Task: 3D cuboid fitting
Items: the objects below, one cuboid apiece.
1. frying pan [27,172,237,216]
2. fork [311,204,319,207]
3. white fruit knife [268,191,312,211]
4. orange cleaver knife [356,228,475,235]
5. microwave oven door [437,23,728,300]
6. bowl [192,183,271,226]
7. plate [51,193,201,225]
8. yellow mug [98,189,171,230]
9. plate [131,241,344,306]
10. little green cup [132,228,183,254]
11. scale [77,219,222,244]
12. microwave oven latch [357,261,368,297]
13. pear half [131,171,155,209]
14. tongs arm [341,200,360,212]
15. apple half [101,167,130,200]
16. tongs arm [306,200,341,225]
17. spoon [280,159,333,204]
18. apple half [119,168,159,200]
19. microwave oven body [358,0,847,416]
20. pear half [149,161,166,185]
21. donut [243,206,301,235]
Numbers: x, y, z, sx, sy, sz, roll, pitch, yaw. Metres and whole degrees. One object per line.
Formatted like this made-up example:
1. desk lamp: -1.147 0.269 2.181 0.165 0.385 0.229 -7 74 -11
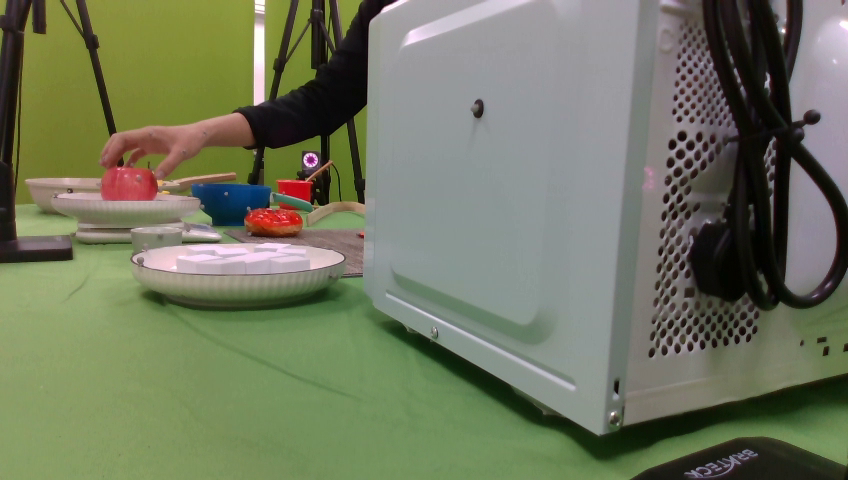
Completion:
1. frying pan: -0.624 -0.118 1.387 0.305 0.102 0.490 8 17 32
2. fork: -0.356 -0.105 1.526 0.208 0.018 0.028 16 -5 -41
3. white fruit knife: -0.364 -0.105 1.464 0.208 0.027 0.016 15 0 -34
4. orange cleaver knife: -0.017 -0.015 1.080 0.211 0.012 0.077 0 1 -3
5. microwave oven door: 0.180 -0.073 0.621 0.358 0.243 0.039 -2 8 -29
6. bowl: -0.382 -0.071 1.202 0.151 0.077 0.151 3 7 0
7. plate: -0.460 -0.050 0.944 0.209 0.038 0.209 2 7 0
8. yellow mug: -0.519 -0.055 1.080 0.099 0.064 0.131 7 10 26
9. plate: -0.187 0.033 0.625 0.208 0.039 0.207 2 7 0
10. little green cup: -0.342 0.006 0.779 0.061 0.038 0.061 2 8 0
11. scale: -0.434 -0.018 0.963 0.202 0.031 0.148 -1 9 -27
12. microwave oven latch: -0.019 0.033 0.530 0.079 0.029 0.030 -1 7 -26
13. pear half: -0.638 -0.113 1.361 0.031 0.088 0.070 5 10 4
14. tongs arm: -0.149 -0.070 1.429 0.051 0.026 0.383 -4 8 -14
15. apple half: -0.472 -0.077 0.948 0.053 0.074 0.081 1 10 15
16. tongs arm: -0.234 -0.067 1.414 0.028 0.028 0.387 -6 7 1
17. spoon: -0.316 -0.159 1.639 0.194 0.022 0.041 -49 31 -20
18. apple half: -0.434 -0.076 0.939 0.033 0.081 0.081 2 7 15
19. microwave oven body: 0.211 -0.047 0.474 0.444 0.260 0.324 -1 7 -28
20. pear half: -0.602 -0.120 1.354 0.056 0.110 0.076 4 11 6
21. donut: -0.261 -0.032 1.042 0.099 0.048 0.099 3 9 0
